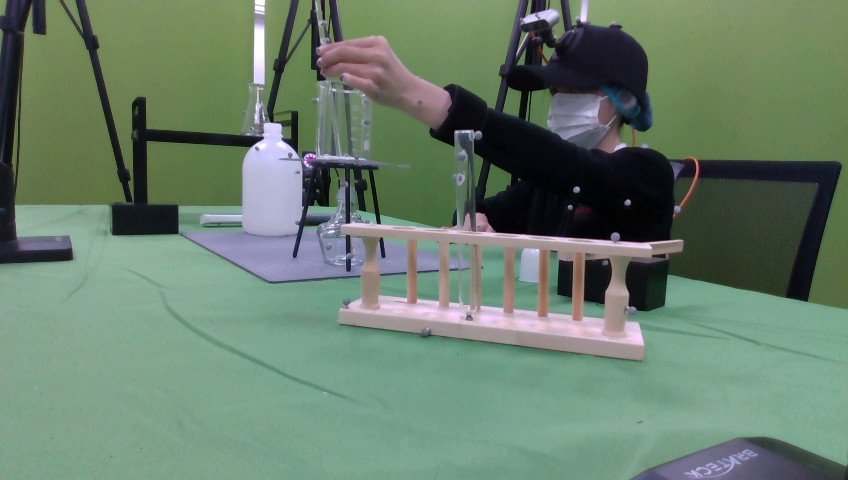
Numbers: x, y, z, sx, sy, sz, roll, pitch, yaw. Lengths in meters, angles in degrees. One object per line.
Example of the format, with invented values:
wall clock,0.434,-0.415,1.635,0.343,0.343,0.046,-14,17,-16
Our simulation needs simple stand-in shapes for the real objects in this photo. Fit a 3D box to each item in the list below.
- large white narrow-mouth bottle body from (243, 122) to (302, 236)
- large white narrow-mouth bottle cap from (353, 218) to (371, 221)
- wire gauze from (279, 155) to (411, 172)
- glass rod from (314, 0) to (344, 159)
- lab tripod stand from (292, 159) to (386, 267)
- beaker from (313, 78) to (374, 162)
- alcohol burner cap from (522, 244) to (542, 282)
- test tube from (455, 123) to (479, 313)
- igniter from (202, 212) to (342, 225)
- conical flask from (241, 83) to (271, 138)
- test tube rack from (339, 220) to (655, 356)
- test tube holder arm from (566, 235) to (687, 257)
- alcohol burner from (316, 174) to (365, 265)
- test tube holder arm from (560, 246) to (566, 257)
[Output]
large white narrow-mouth bottle body,-0.264,-0.109,1.061,0.102,0.194,0.102,2,8,0
large white narrow-mouth bottle cap,-0.121,-0.029,1.184,0.038,0.024,0.037,2,8,0
wire gauze,-0.103,-0.103,0.785,0.121,0.011,0.126,11,8,42
glass rod,-0.119,-0.201,0.764,0.008,0.199,0.008,-7,16,2
lab tripod stand,-0.105,-0.039,0.797,0.148,0.131,0.148,2,5,0
beaker,-0.101,-0.150,0.774,0.074,0.100,0.083,-2,7,-40
alcohol burner cap,0.136,0.026,0.740,0.034,0.048,0.034,0,6,0
test tube,0.034,-0.016,0.476,0.017,0.150,0.017,-2,9,1
igniter,-0.298,-0.043,1.216,0.278,0.025,0.057,-3,-2,-32
conical flask,-0.384,-0.297,1.393,0.075,0.122,0.075,2,7,0
test tube rack,0.056,0.032,0.495,0.242,0.085,0.067,4,7,15
test tube holder arm,0.215,0.006,0.630,0.179,0.015,0.013,-3,9,-30
alcohol burner,-0.102,-0.028,0.790,0.078,0.119,0.078,0,6,0
test tube holder arm,0.173,0.007,0.611,0.088,0.015,0.010,-3,9,-30
